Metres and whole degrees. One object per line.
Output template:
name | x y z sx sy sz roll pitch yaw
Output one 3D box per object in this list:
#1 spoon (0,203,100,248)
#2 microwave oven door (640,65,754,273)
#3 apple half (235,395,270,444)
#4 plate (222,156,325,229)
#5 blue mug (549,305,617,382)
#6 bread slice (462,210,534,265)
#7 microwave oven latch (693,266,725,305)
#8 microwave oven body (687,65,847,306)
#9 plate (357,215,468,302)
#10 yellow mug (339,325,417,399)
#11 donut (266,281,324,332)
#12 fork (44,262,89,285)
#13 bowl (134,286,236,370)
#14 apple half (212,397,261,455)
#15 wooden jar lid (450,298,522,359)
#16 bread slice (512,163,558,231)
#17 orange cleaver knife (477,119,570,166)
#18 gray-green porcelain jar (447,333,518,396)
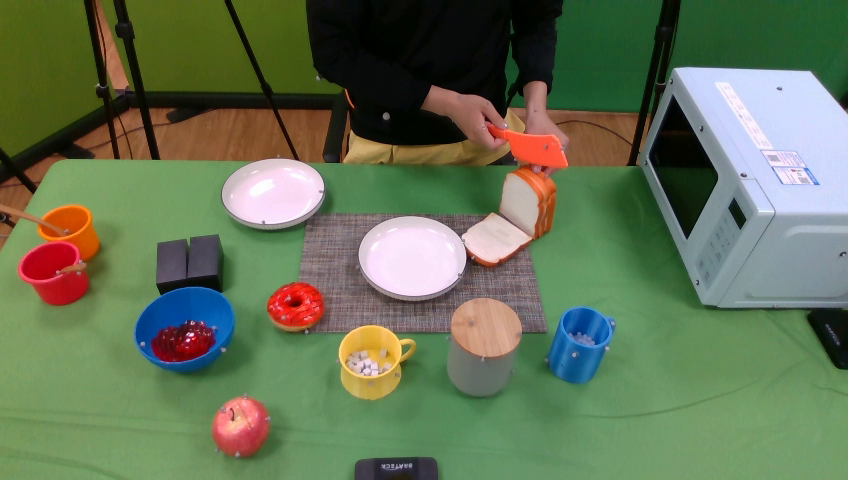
spoon | -0.683 -0.031 1.088 0.195 0.021 0.041 33 33 -38
microwave oven door | 0.523 -0.147 1.193 0.039 0.245 0.353 0 47 -3
apple half | -0.245 0.259 0.893 0.033 0.082 0.081 -29 55 -22
plate | -0.308 -0.095 1.251 0.209 0.038 0.208 2 47 -2
blue mug | 0.269 0.166 0.998 0.116 0.106 0.082 -19 51 -21
bread slice | 0.138 -0.003 1.196 0.104 0.019 0.131 38 52 27
microwave oven latch | 0.523 0.082 1.115 0.030 0.029 0.078 2 46 -1
microwave oven body | 0.669 -0.111 1.176 0.326 0.261 0.439 0 46 -3
plate | -0.022 0.037 1.141 0.208 0.039 0.206 2 46 -2
yellow mug | -0.072 0.190 0.978 0.131 0.064 0.099 -17 50 -20
donut | -0.222 0.114 1.049 0.099 0.048 0.098 2 45 -2
fork | -0.598 0.054 1.014 0.207 0.019 0.028 -15 29 45
bowl | -0.377 0.155 0.981 0.151 0.077 0.150 2 46 -2
apple half | -0.276 0.276 0.877 0.053 0.075 0.080 -29 58 -21
wooden jar lid | 0.093 0.135 0.914 0.108 0.021 0.107 2 48 -3
bread slice | 0.224 -0.090 1.221 0.018 0.135 0.106 -32 57 -26
orange cleaver knife | 0.185 -0.186 1.148 0.012 0.077 0.210 -41 43 -25
gray-green porcelain jar | 0.091 0.178 0.960 0.106 0.127 0.105 2 46 -2
